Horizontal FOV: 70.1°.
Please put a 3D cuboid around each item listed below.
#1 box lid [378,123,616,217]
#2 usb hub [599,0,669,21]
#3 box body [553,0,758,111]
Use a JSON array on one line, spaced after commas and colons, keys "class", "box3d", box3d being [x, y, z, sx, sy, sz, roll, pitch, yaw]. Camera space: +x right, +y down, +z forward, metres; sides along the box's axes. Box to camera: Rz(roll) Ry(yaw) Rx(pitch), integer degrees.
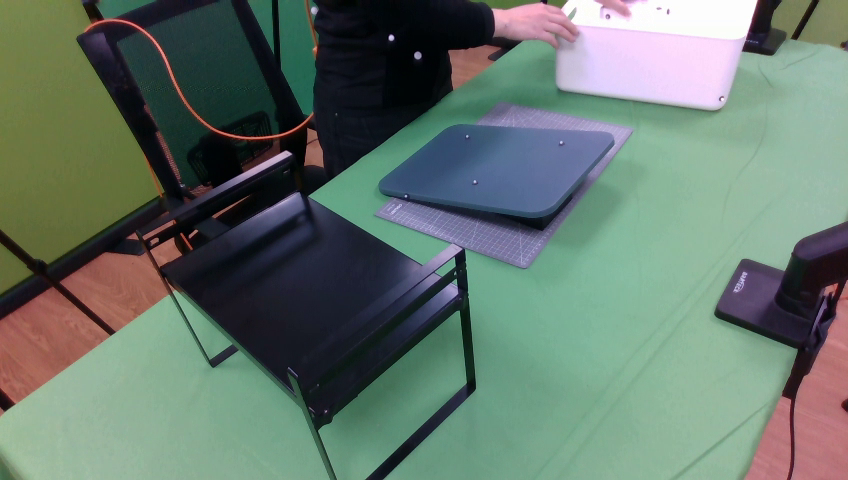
[{"class": "box lid", "box3d": [0.119, -0.136, 1.071, 0.368, 0.015, 0.264, 12, 42, 38]}, {"class": "usb hub", "box3d": [0.414, -0.455, 1.195, 0.124, 0.025, 0.049, 16, 46, 33]}, {"class": "box body", "box3d": [0.480, -0.417, 1.281, 0.362, 0.161, 0.254, 15, 46, 24]}]
